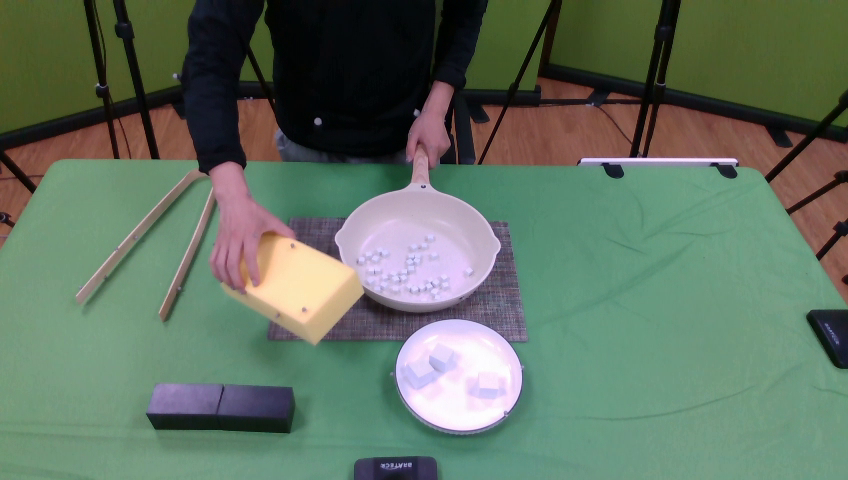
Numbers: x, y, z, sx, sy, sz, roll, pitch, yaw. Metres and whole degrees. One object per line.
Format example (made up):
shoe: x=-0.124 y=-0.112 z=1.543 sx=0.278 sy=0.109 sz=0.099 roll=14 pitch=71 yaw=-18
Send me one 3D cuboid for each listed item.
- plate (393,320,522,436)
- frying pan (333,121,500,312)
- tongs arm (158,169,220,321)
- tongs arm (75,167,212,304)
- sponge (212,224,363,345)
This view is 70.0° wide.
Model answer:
plate: x=0.053 y=0.222 z=0.979 sx=0.208 sy=0.039 sz=0.206 roll=2 pitch=46 yaw=-2
frying pan: x=-0.011 y=-0.063 z=1.195 sx=0.307 sy=0.103 sz=0.485 roll=4 pitch=55 yaw=-2
tongs arm: x=-0.446 y=-0.005 z=1.164 sx=0.028 sy=0.028 sz=0.385 roll=2 pitch=46 yaw=0
tongs arm: x=-0.525 y=-0.021 z=1.167 sx=0.051 sy=0.026 sz=0.383 roll=13 pitch=46 yaw=7
sponge: x=-0.216 y=0.065 z=0.960 sx=0.206 sy=0.061 sz=0.118 roll=23 pitch=57 yaw=28
